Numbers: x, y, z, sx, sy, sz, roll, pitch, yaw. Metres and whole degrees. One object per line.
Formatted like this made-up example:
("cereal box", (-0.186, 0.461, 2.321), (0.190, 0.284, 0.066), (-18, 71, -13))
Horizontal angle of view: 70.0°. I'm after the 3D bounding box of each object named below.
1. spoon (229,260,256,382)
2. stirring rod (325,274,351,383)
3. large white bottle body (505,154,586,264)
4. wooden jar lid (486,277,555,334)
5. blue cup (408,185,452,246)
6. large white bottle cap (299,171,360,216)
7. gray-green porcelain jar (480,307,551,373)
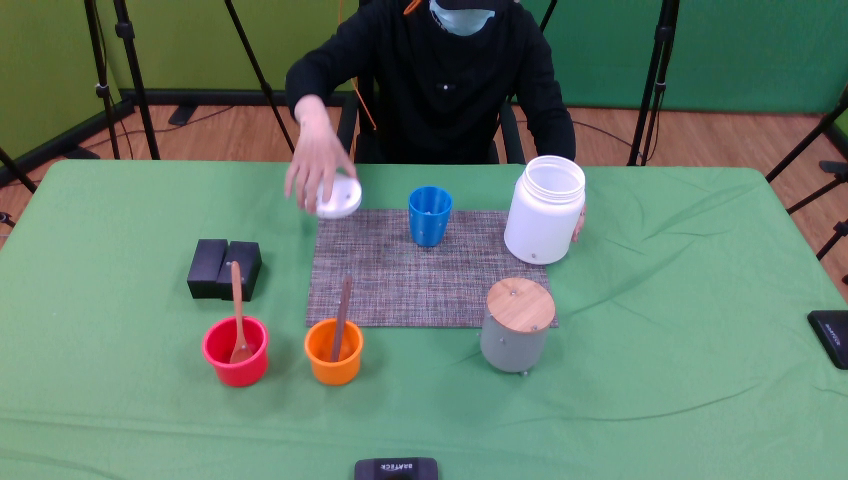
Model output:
("spoon", (-0.294, 0.129, 0.966), (0.042, 0.021, 0.193), (-4, 91, -9))
("stirring rod", (-0.137, 0.142, 0.971), (0.014, 0.006, 0.176), (10, 89, 0))
("large white bottle body", (0.230, -0.058, 1.149), (0.131, 0.185, 0.130), (3, 46, -3))
("wooden jar lid", (0.150, 0.105, 0.948), (0.108, 0.021, 0.107), (3, 47, -3))
("blue cup", (0.008, -0.042, 1.177), (0.093, 0.101, 0.092), (3, 47, -3))
("large white bottle cap", (-0.178, -0.089, 1.148), (0.115, 0.018, 0.114), (4, 46, -4))
("gray-green porcelain jar", (0.148, 0.148, 0.992), (0.106, 0.127, 0.105), (2, 46, -2))
